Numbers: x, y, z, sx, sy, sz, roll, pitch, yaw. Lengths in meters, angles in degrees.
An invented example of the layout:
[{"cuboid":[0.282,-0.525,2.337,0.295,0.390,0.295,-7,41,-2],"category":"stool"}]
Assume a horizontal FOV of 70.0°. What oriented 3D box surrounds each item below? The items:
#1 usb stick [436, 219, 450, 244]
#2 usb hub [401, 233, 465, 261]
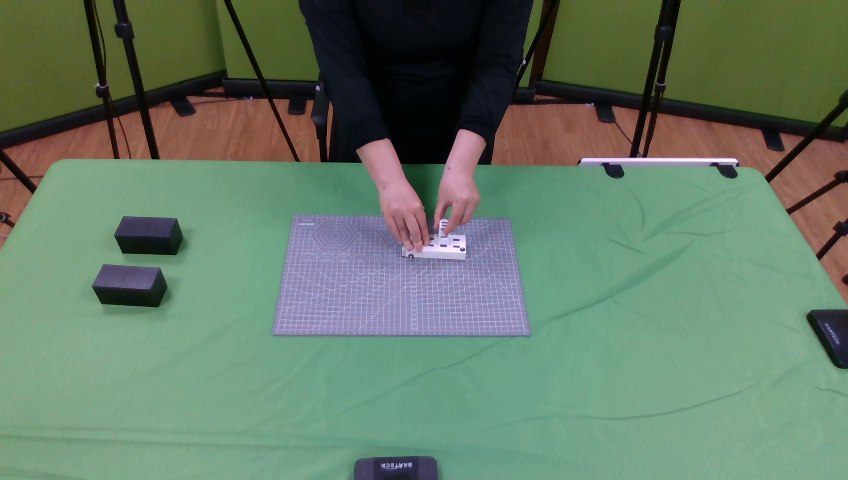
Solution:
[{"cuboid":[0.036,-0.011,1.161,0.021,0.059,0.027,1,46,-5],"category":"usb stick"},{"cuboid":[0.018,0.013,1.181,0.125,0.025,0.049,3,46,0],"category":"usb hub"}]
